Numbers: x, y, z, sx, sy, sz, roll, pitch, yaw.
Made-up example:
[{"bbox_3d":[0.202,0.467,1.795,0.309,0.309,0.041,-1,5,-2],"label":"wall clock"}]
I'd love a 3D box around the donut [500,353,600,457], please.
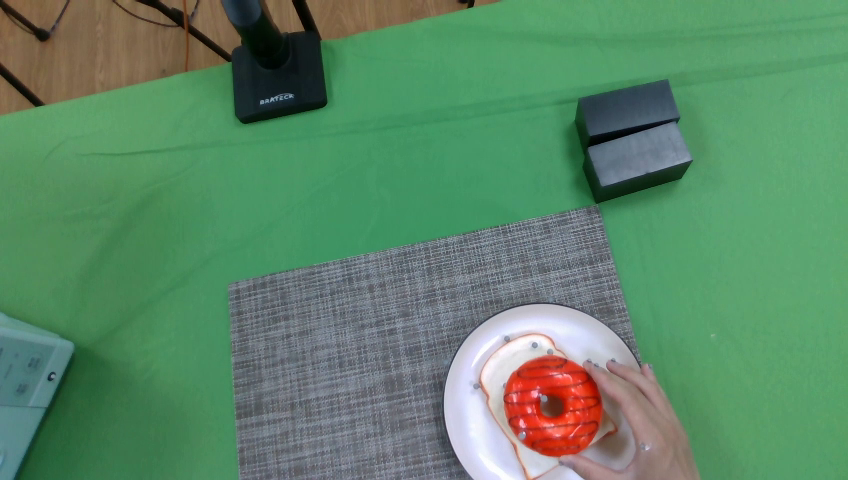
[{"bbox_3d":[0.124,0.162,0.597,0.099,0.048,0.098,-1,73,5],"label":"donut"}]

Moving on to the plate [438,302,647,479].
[{"bbox_3d":[0.119,0.169,0.626,0.207,0.039,0.206,-2,73,7],"label":"plate"}]

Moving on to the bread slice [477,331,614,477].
[{"bbox_3d":[0.117,0.163,0.630,0.105,0.019,0.130,-32,73,-4],"label":"bread slice"}]

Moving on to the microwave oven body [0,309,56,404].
[{"bbox_3d":[-0.647,0.239,0.597,0.325,0.262,0.440,16,77,12],"label":"microwave oven body"}]

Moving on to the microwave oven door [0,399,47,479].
[{"bbox_3d":[-0.524,0.314,0.551,0.039,0.245,0.354,16,76,13],"label":"microwave oven door"}]

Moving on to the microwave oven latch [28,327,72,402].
[{"bbox_3d":[-0.438,0.144,0.698,0.030,0.030,0.079,18,77,13],"label":"microwave oven latch"}]
